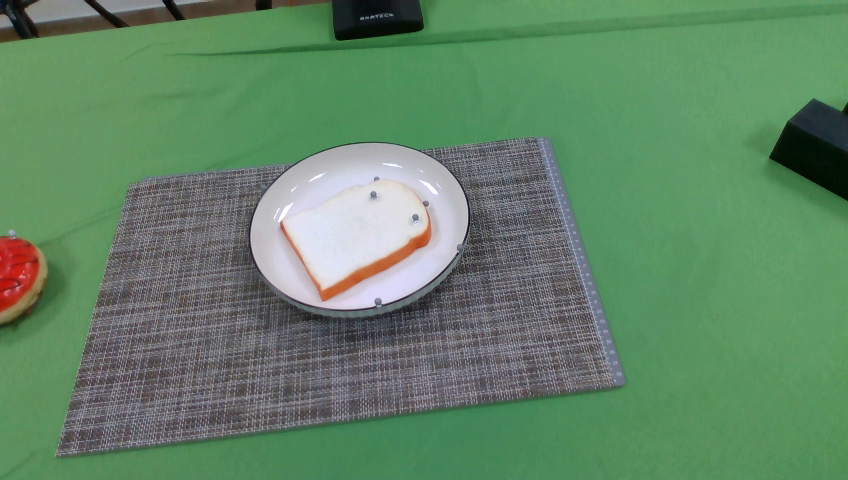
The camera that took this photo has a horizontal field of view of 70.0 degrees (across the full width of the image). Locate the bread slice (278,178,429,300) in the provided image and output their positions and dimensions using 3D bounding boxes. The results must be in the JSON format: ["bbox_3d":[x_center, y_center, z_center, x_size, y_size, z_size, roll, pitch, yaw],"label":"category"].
[{"bbox_3d":[-0.064,-0.012,0.582,0.131,0.019,0.104,-28,56,-16],"label":"bread slice"}]

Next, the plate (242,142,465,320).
[{"bbox_3d":[-0.065,-0.009,0.578,0.207,0.039,0.205,-2,52,2],"label":"plate"}]

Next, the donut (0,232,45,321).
[{"bbox_3d":[-0.408,0.035,0.567,0.099,0.049,0.098,-3,53,4],"label":"donut"}]
